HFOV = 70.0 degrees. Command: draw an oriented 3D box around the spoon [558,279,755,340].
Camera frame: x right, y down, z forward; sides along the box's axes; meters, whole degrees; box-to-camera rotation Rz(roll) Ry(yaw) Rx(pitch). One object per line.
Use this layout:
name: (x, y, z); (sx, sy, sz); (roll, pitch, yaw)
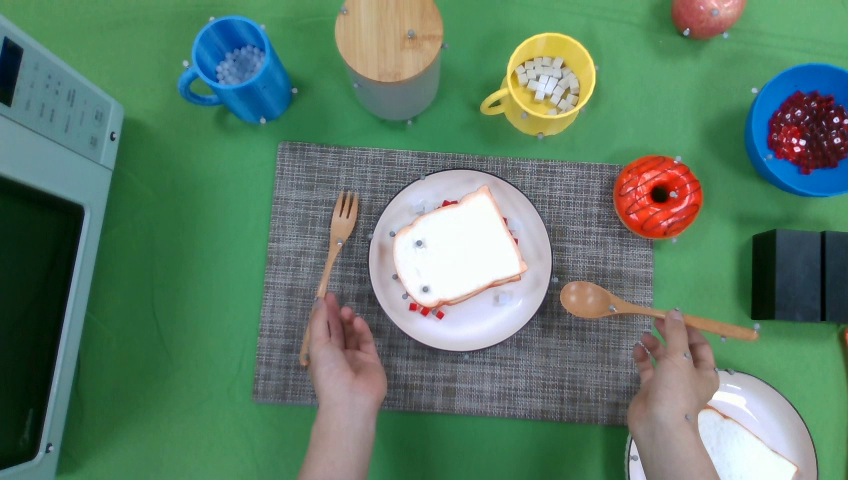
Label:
spoon: (0.232, 0.075, 0.622); (0.192, 0.022, 0.041); (11, 69, 33)

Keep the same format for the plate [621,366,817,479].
plate: (0.318, 0.243, 0.666); (0.209, 0.038, 0.208); (0, 83, 0)

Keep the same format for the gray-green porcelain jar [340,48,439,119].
gray-green porcelain jar: (-0.036, -0.200, 0.675); (0.106, 0.127, 0.105); (0, 82, 0)

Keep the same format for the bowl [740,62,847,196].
bowl: (0.425, -0.116, 0.691); (0.151, 0.077, 0.151); (0, 83, 0)

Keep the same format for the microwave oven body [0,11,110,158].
microwave oven body: (-0.538, 0.013, 0.574); (0.326, 0.260, 0.440); (7, 83, 0)

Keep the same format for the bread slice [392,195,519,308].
bread slice: (0.031, 0.020, 0.691); (0.131, 0.019, 0.104); (-23, 84, -5)

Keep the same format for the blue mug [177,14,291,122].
blue mug: (-0.217, -0.184, 0.681); (0.116, 0.106, 0.082); (-21, 83, -3)

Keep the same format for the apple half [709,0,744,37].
apple half: (0.341, -0.285, 0.714); (0.053, 0.075, 0.080); (-28, 80, -9)

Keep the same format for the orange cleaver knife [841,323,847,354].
orange cleaver knife: (0.510, 0.188, 0.683); (0.077, 0.012, 0.210); (5, 81, -6)

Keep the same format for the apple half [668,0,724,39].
apple half: (0.308, -0.265, 0.710); (0.033, 0.081, 0.081); (-29, 83, -8)

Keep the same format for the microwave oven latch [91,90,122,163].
microwave oven latch: (-0.368, -0.129, 0.689); (0.030, 0.029, 0.079); (9, 84, 0)

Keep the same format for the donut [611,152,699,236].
donut: (0.264, -0.052, 0.695); (0.099, 0.048, 0.099); (0, 84, 0)

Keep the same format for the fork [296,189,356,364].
fork: (-0.111, 0.038, 0.682); (0.028, 0.019, 0.206); (13, 71, 2)

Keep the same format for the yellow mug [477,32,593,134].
yellow mug: (0.124, -0.175, 0.703); (0.131, 0.064, 0.099); (-20, 84, -2)

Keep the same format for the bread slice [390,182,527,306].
bread slice: (0.032, 0.013, 0.664); (0.134, 0.018, 0.106); (-27, 81, -5)

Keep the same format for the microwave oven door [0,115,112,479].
microwave oven door: (-0.398, 0.073, 0.562); (0.039, 0.244, 0.354); (7, 83, 1)

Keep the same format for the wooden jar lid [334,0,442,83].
wooden jar lid: (-0.036, -0.209, 0.613); (0.108, 0.021, 0.108); (0, 81, 0)

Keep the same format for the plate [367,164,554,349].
plate: (0.041, 0.019, 0.689); (0.208, 0.039, 0.207); (0, 83, 0)
